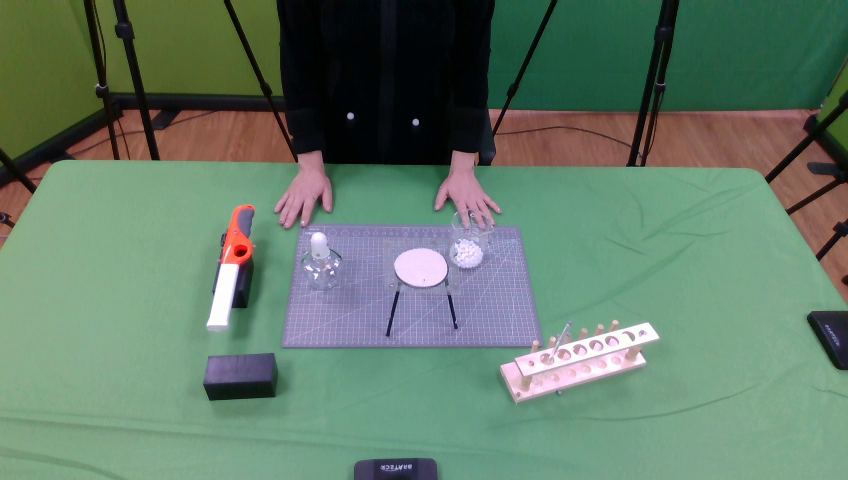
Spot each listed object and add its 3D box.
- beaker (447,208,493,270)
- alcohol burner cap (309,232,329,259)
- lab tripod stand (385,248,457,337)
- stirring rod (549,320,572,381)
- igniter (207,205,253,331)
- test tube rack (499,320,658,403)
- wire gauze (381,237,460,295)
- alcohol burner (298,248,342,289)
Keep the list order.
[{"bbox_3d":[0.084,0.001,1.147,0.084,0.101,0.073,16,47,9],"label":"beaker"},{"bbox_3d":[-0.186,0.008,1.058,0.034,0.048,0.033,0,43,1],"label":"alcohol burner cap"},{"bbox_3d":[-0.010,0.087,1.032,0.148,0.132,0.147,1,45,-1],"label":"lab tripod stand"},{"bbox_3d":[0.202,0.167,0.901,0.006,0.177,0.014,-16,54,-10],"label":"stirring rod"},{"bbox_3d":[-0.339,0.038,1.066,0.057,0.025,0.274,2,48,-6],"label":"igniter"},{"bbox_3d":[0.252,0.187,0.994,0.243,0.085,0.066,-12,48,-15],"label":"test tube rack"},{"bbox_3d":[-0.008,0.040,0.984,0.125,0.011,0.120,0,44,-4],"label":"wire gauze"},{"bbox_3d":[-0.187,0.032,1.084,0.078,0.120,0.077,1,46,-1],"label":"alcohol burner"}]
